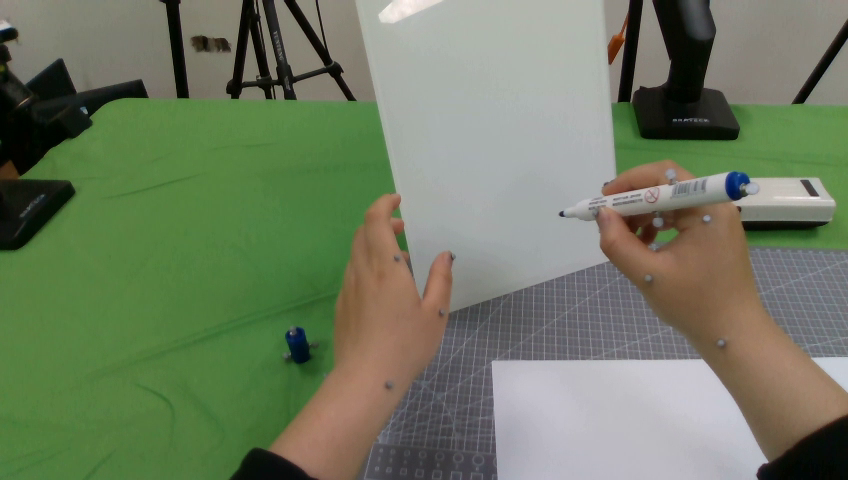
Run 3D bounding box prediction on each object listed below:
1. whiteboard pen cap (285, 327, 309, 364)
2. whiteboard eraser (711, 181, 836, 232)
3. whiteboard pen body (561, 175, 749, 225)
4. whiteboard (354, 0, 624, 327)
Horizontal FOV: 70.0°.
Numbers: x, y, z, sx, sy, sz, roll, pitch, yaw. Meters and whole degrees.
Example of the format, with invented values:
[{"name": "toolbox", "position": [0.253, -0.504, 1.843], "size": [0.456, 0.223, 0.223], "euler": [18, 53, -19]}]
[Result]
[{"name": "whiteboard pen cap", "position": [-0.111, 0.093, 0.533], "size": [0.018, 0.033, 0.018], "euler": [-1, 41, 2]}, {"name": "whiteboard eraser", "position": [0.361, -0.035, 0.638], "size": [0.112, 0.042, 0.055], "euler": [1, 42, 5]}, {"name": "whiteboard pen body", "position": [0.131, -0.021, 0.370], "size": [0.017, 0.017, 0.140], "euler": [-29, 9, -27]}, {"name": "whiteboard", "position": [0.054, -0.107, 0.595], "size": [0.217, 0.307, 0.142], "euler": [-16, 20, -13]}]
